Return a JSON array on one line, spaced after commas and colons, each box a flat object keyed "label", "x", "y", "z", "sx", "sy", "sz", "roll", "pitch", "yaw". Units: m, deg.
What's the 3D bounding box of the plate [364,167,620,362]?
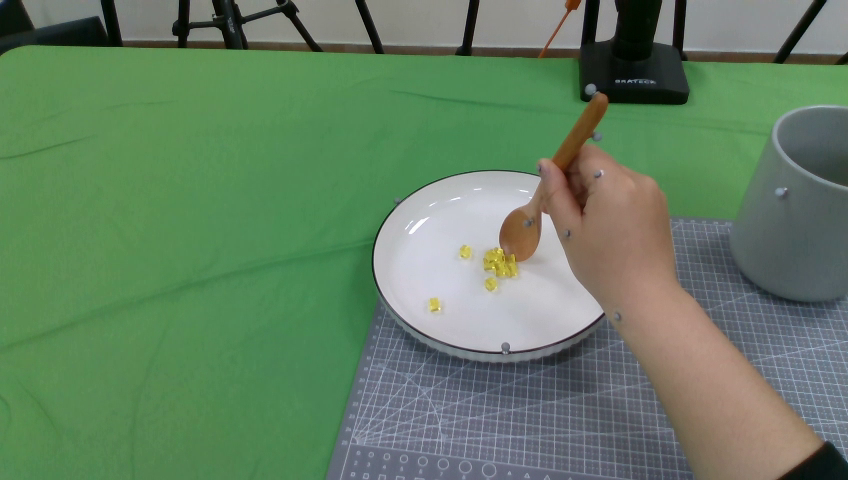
[{"label": "plate", "x": 0.055, "y": 0.019, "z": 0.510, "sx": 0.207, "sy": 0.039, "sz": 0.205, "roll": -2, "pitch": 46, "yaw": 2}]

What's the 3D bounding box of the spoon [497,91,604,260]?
[{"label": "spoon", "x": 0.088, "y": -0.038, "z": 0.445, "sx": 0.022, "sy": 0.195, "sz": 0.041, "roll": -22, "pitch": 68, "yaw": -18}]

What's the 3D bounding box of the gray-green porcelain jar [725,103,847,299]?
[{"label": "gray-green porcelain jar", "x": 0.302, "y": -0.025, "z": 0.472, "sx": 0.106, "sy": 0.128, "sz": 0.105, "roll": -2, "pitch": 46, "yaw": 3}]
